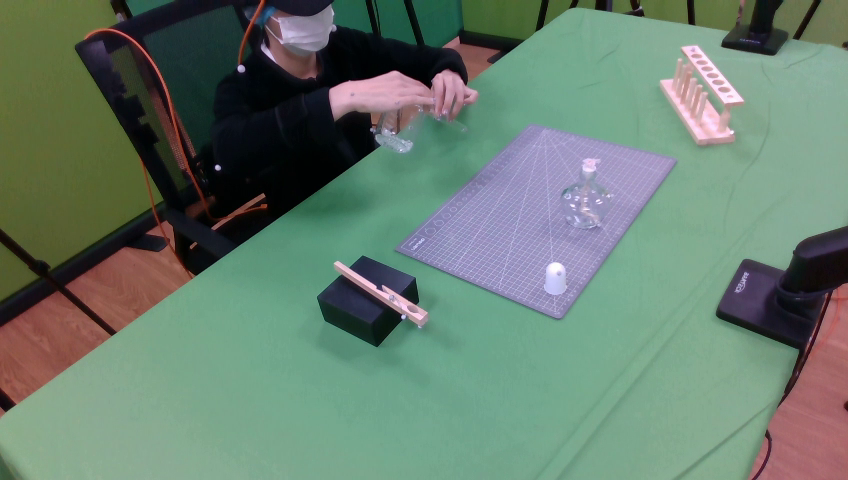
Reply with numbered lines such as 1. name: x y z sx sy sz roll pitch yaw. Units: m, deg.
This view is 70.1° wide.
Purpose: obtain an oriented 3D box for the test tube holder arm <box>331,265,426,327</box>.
1. test tube holder arm: -0.066 0.074 0.828 0.177 0.015 0.013 25 42 33

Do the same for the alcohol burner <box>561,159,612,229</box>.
1. alcohol burner: 0.257 -0.077 0.951 0.078 0.119 0.077 -3 40 3

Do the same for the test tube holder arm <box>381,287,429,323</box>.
1. test tube holder arm: -0.028 0.087 0.807 0.087 0.015 0.010 25 42 33

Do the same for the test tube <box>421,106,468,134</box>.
1. test tube: 0.041 -0.221 1.120 0.017 0.017 0.151 23 7 32

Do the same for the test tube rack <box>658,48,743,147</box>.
1. test tube rack: 0.532 -0.284 1.181 0.067 0.085 0.241 -5 40 4

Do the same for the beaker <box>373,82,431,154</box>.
1. beaker: -0.037 -0.201 1.019 0.073 0.085 0.100 8 72 41

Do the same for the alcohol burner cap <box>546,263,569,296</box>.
1. alcohol burner cap: 0.191 0.053 0.862 0.034 0.048 0.033 -5 40 4
